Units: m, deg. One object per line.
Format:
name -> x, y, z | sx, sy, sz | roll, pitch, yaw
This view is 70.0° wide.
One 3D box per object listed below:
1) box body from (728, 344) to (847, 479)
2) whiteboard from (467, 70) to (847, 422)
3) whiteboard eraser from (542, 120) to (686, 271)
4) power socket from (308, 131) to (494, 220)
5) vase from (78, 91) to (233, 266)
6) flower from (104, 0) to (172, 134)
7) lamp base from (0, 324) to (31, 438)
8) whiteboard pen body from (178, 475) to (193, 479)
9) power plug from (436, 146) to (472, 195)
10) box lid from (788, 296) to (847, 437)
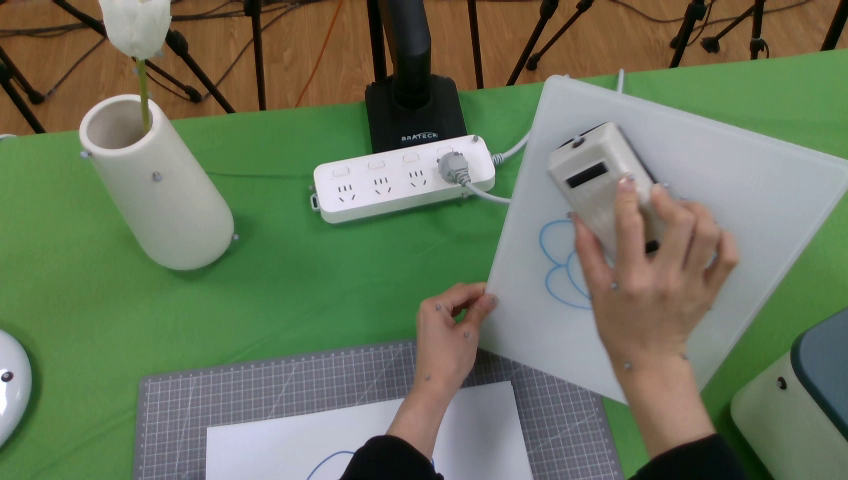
box body -> 0.471, 0.207, 0.490 | 0.254, 0.161, 0.360 | -24, 64, -14
whiteboard -> 0.190, -0.010, 0.560 | 0.216, 0.308, 0.143 | 20, 42, 11
whiteboard eraser -> 0.142, -0.032, 0.449 | 0.113, 0.055, 0.041 | 49, 38, -16
power socket -> -0.024, -0.077, 0.714 | 0.227, 0.033, 0.071 | -12, 63, -8
vase -> -0.261, -0.054, 0.601 | 0.098, 0.201, 0.097 | 0, 60, 1
flower -> -0.240, -0.090, 0.528 | 0.038, 0.362, 0.044 | 41, 57, 1
lamp base -> -0.475, 0.106, 0.518 | 0.178, 0.182, 0.160 | 22, 62, 14
whiteboard pen body -> -0.215, 0.275, 0.516 | 0.017, 0.017, 0.139 | 0, 63, 0
power plug -> 0.032, -0.073, 0.687 | 0.035, 0.053, 0.072 | -3, 67, -3
box lid -> 0.471, 0.168, 0.425 | 0.263, 0.015, 0.368 | -24, 64, -13
